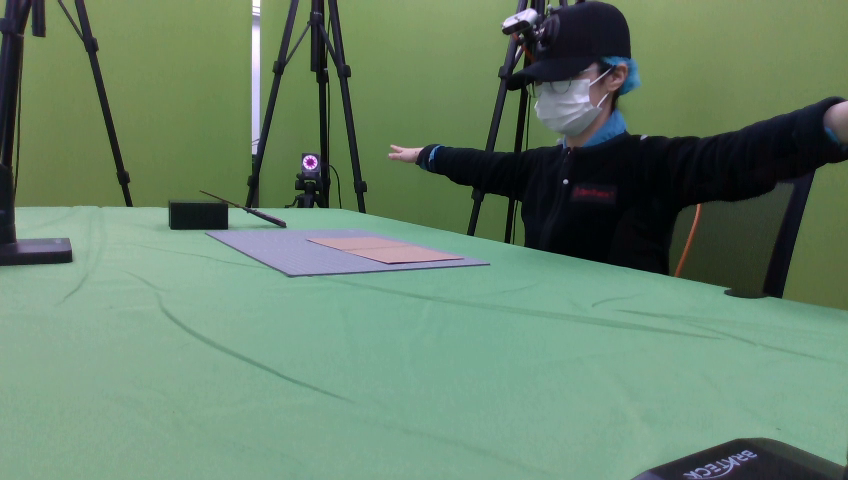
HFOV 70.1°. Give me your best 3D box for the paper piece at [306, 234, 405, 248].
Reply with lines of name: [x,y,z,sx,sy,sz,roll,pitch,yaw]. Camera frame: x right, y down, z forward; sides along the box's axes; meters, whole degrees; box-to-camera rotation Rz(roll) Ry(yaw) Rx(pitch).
paper piece: [-0.110,0.000,1.015,0.136,0.004,0.135,-4,9,-35]

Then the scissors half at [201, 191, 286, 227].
scissors half: [-0.358,-0.064,1.206,0.175,0.013,0.040,22,1,-10]

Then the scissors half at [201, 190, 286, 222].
scissors half: [-0.364,-0.068,1.225,0.176,0.013,0.040,22,7,-27]

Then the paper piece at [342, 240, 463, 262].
paper piece: [-0.033,0.017,0.908,0.137,0.008,0.137,-7,12,-34]
